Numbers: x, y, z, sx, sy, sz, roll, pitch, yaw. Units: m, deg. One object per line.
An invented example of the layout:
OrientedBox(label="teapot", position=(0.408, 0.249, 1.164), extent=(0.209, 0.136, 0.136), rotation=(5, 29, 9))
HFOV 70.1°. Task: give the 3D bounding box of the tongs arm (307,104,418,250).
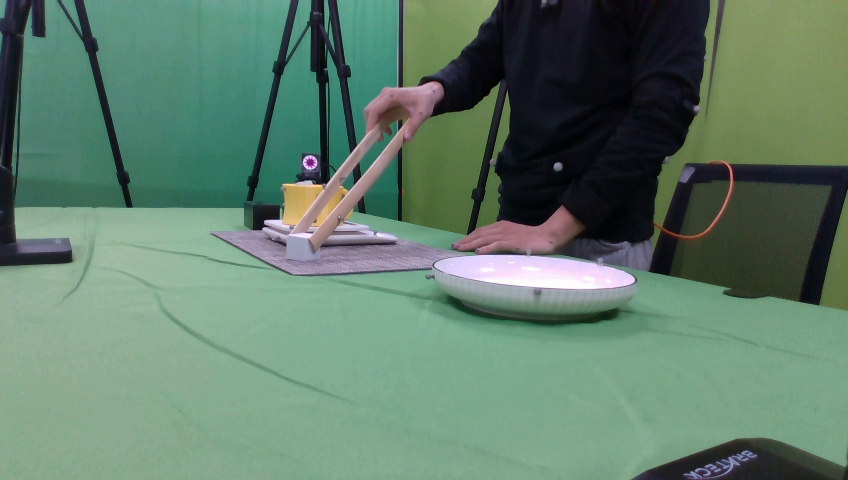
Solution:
OrientedBox(label="tongs arm", position=(-0.084, -0.113, 0.947), extent=(0.028, 0.028, 0.388), rotation=(3, 39, 25))

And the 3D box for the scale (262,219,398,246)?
OrientedBox(label="scale", position=(-0.160, -0.016, 1.028), extent=(0.202, 0.031, 0.148), rotation=(-2, 9, -31))

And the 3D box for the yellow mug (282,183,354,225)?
OrientedBox(label="yellow mug", position=(-0.172, -0.061, 1.009), extent=(0.131, 0.064, 0.099), rotation=(-2, 8, -41))

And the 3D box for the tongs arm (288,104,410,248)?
OrientedBox(label="tongs arm", position=(-0.105, -0.115, 0.956), extent=(0.050, 0.026, 0.385), rotation=(3, 40, 20))

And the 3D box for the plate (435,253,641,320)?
OrientedBox(label="plate", position=(0.114, 0.047, 0.626), extent=(0.208, 0.039, 0.207), rotation=(2, 7, 0))
